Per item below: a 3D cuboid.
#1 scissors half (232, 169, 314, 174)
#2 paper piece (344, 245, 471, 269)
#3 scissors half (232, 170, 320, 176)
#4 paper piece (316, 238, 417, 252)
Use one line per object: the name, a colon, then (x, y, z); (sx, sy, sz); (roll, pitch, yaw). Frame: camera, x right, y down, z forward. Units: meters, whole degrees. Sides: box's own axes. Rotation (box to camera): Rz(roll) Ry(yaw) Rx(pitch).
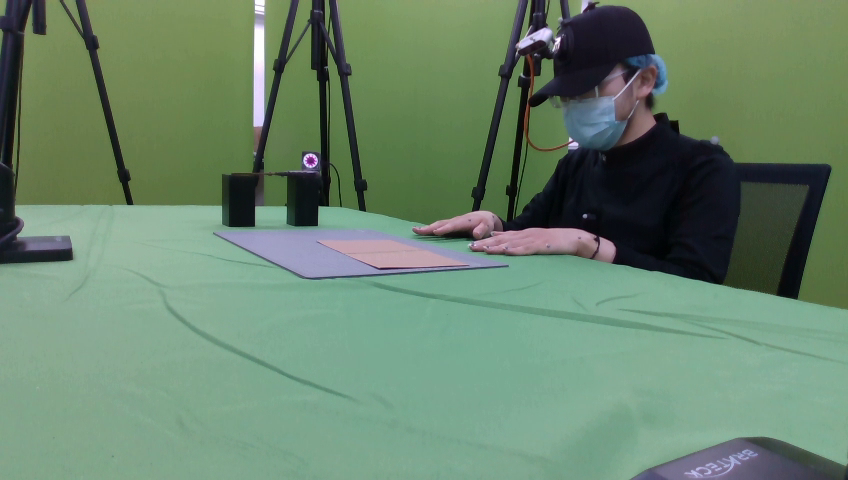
scissors half: (-0.304, -0.138, 1.228); (0.176, 0.013, 0.040); (-7, 18, -41)
paper piece: (-0.027, 0.024, 0.847); (0.137, 0.008, 0.137); (-5, 11, -26)
scissors half: (-0.293, -0.133, 1.212); (0.176, 0.013, 0.040); (-2, 10, -24)
paper piece: (-0.088, 0.006, 0.964); (0.136, 0.004, 0.135); (-3, 8, -27)
